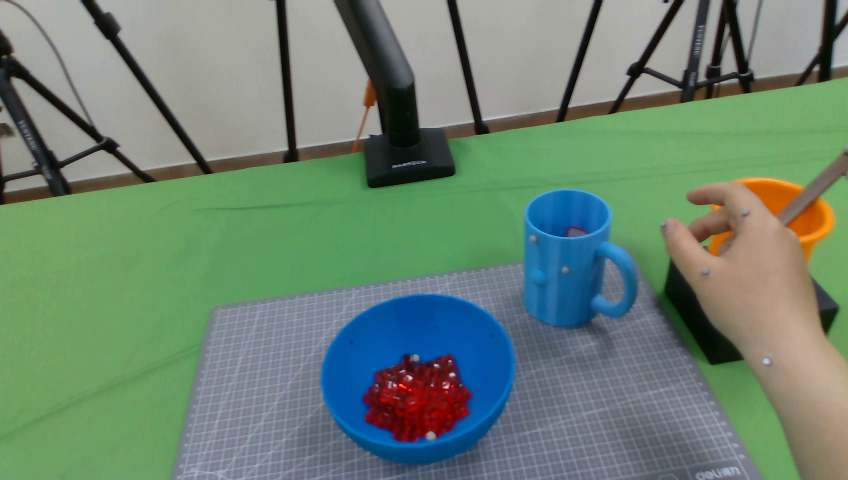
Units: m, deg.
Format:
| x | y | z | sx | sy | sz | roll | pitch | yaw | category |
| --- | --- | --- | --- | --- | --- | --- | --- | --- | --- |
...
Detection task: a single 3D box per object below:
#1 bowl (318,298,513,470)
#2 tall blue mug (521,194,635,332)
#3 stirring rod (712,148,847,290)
| x | y | z | sx | sy | sz | roll | pitch | yaw | category |
| --- | --- | --- | --- | --- | --- | --- | --- | --- | --- |
| -0.003 | 0.126 | 0.486 | 0.151 | 0.077 | 0.150 | -4 | 38 | 3 | bowl |
| 0.144 | 0.025 | 0.567 | 0.107 | 0.109 | 0.077 | 9 | 40 | 19 | tall blue mug |
| 0.309 | -0.024 | 0.505 | 0.176 | 0.006 | 0.014 | -50 | 39 | 14 | stirring rod |
